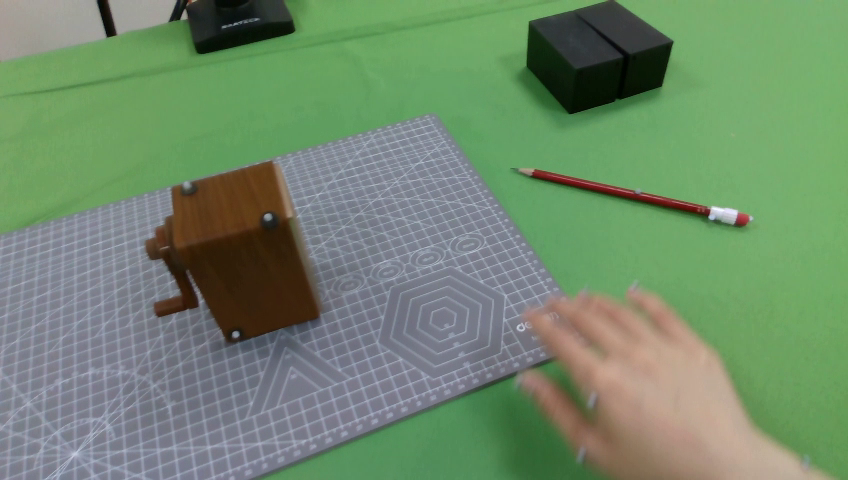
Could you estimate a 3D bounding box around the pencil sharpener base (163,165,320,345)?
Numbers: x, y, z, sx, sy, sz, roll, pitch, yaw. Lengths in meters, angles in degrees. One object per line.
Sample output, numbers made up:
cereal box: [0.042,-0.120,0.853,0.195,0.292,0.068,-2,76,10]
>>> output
pencil sharpener base: [-0.122,0.014,0.414,0.077,0.108,0.060,-17,48,-10]

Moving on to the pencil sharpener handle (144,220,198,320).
pencil sharpener handle: [-0.170,0.022,0.393,0.031,0.068,0.035,-17,32,-10]

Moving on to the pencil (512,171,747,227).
pencil: [0.166,-0.038,0.511,0.193,0.012,0.012,15,50,20]
